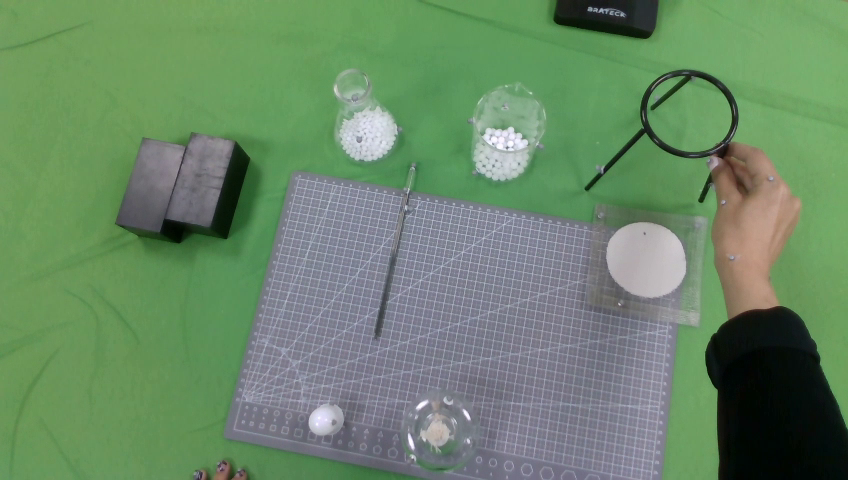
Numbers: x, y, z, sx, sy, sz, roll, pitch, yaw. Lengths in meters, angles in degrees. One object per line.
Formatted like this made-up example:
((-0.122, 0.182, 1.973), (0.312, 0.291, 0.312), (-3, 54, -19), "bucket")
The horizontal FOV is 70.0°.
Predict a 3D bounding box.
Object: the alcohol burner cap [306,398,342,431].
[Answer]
((-0.103, 0.178, 0.617), (0.034, 0.048, 0.033), (0, 77, 1), "alcohol burner cap")

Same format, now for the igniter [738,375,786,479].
((0.322, 0.272, 0.600), (0.057, 0.025, 0.275), (17, 78, -6), "igniter")

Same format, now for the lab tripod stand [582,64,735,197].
((0.243, -0.105, 0.624), (0.148, 0.132, 0.147), (0, 78, 2), "lab tripod stand")

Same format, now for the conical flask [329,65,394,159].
((-0.074, -0.141, 0.649), (0.075, 0.122, 0.075), (0, 77, 1), "conical flask")

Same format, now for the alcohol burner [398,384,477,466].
((0.012, 0.178, 0.579), (0.078, 0.119, 0.077), (0, 79, 2), "alcohol burner")

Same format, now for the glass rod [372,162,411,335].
((-0.035, 0.006, 0.670), (0.008, 0.008, 0.199), (10, 77, 3), "glass rod")

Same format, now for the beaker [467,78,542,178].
((0.083, -0.117, 0.654), (0.074, 0.101, 0.083), (13, 77, 4), "beaker")

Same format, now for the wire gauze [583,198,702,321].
((0.240, 0.019, 0.665), (0.125, 0.011, 0.121), (10, 78, 3), "wire gauze")
